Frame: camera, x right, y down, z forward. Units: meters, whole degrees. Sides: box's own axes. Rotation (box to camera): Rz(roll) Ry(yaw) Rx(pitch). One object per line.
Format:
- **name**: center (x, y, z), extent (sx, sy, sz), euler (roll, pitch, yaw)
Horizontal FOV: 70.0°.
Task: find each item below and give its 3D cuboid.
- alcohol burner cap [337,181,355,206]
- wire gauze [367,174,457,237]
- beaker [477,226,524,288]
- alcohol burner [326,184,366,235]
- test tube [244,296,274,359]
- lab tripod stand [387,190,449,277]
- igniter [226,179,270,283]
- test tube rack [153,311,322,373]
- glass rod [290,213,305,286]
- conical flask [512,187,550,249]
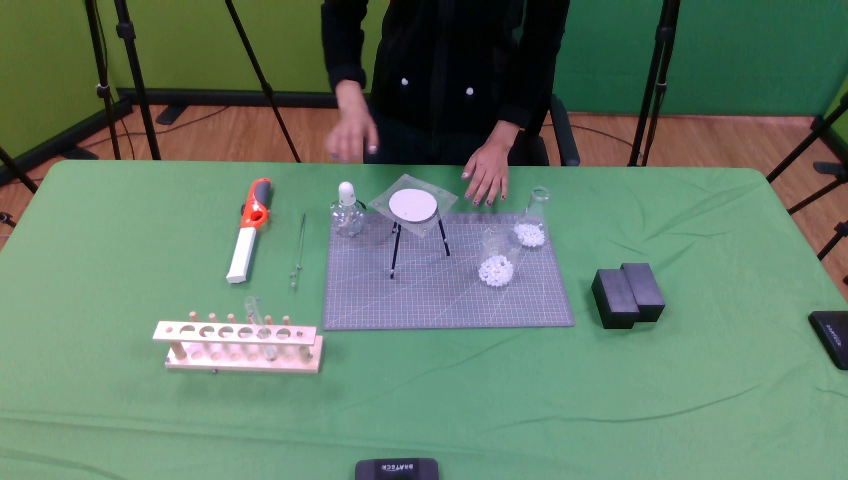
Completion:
- **alcohol burner cap**: center (-0.151, -0.090, 1.157), extent (0.034, 0.048, 0.033), euler (0, 52, 0)
- **wire gauze**: center (-0.020, -0.067, 1.088), extent (0.124, 0.011, 0.121), euler (28, 49, 21)
- **beaker**: center (0.139, 0.033, 1.122), extent (0.084, 0.101, 0.073), euler (-12, 48, -16)
- **alcohol burner**: center (-0.152, -0.066, 1.184), extent (0.078, 0.119, 0.077), euler (4, 46, -4)
- **test tube**: center (-0.253, 0.138, 0.934), extent (0.017, 0.151, 0.017), euler (-1, 46, 1)
- **lab tripod stand**: center (-0.021, -0.018, 1.135), extent (0.148, 0.132, 0.147), euler (3, 44, -3)
- **igniter**: center (-0.345, -0.027, 1.195), extent (0.057, 0.025, 0.274), euler (-6, 46, 5)
- **test tube rack**: center (-0.293, 0.160, 0.978), extent (0.242, 0.085, 0.066), euler (3, 46, -2)
- **glass rod**: center (-0.245, 0.015, 1.175), extent (0.008, 0.008, 0.198), euler (1, 43, -3)
- **conical flask**: center (0.217, -0.048, 1.190), extent (0.075, 0.122, 0.075), euler (2, 46, -2)
